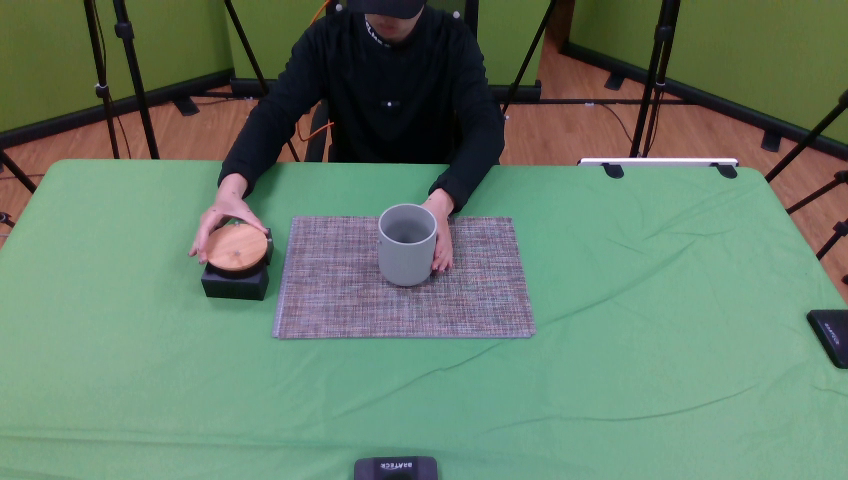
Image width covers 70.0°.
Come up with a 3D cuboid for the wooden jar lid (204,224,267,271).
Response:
[{"bbox_3d":[-0.337,0.015,1.090,0.108,0.021,0.107,3,46,-3],"label":"wooden jar lid"}]

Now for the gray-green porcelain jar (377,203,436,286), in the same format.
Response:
[{"bbox_3d":[-0.033,0.014,1.106,0.106,0.127,0.105,2,46,-2],"label":"gray-green porcelain jar"}]
